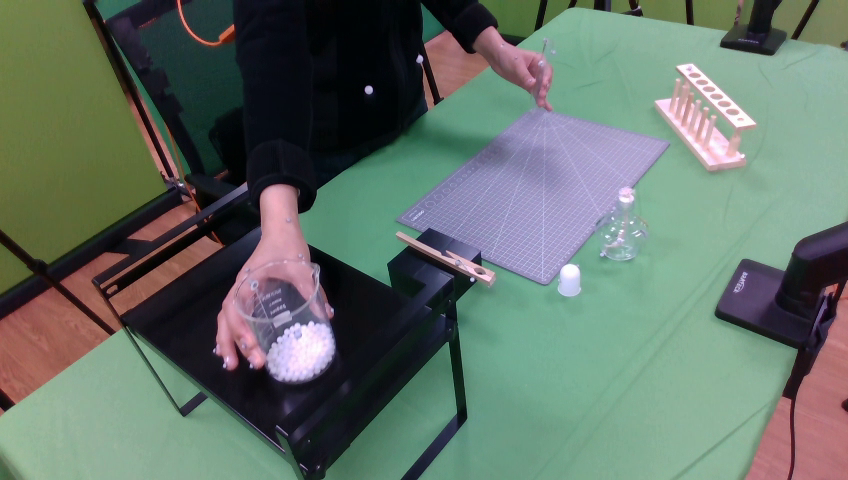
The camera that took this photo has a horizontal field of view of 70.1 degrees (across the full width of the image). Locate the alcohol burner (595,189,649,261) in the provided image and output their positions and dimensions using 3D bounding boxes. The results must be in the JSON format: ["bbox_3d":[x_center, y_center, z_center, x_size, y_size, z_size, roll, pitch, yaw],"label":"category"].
[{"bbox_3d":[0.294,-0.028,0.894,0.078,0.119,0.077,-4,43,5],"label":"alcohol burner"}]

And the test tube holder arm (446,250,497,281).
[{"bbox_3d":[0.064,0.036,0.851,0.087,0.015,0.010,25,60,32],"label":"test tube holder arm"}]

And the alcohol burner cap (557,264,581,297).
[{"bbox_3d":[0.209,0.055,0.866,0.034,0.048,0.033,-4,42,4],"label":"alcohol burner cap"}]

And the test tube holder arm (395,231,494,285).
[{"bbox_3d":[0.025,0.024,0.872,0.177,0.015,0.013,24,60,32],"label":"test tube holder arm"}]

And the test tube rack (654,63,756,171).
[{"bbox_3d":[0.510,-0.233,1.120,0.067,0.085,0.241,-8,41,-1],"label":"test tube rack"}]

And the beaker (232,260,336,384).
[{"bbox_3d":[-0.123,0.078,0.562,0.073,0.101,0.084,30,53,33],"label":"beaker"}]

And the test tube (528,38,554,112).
[{"bbox_3d":[0.201,-0.281,1.048,0.017,0.150,0.017,2,53,-3],"label":"test tube"}]
